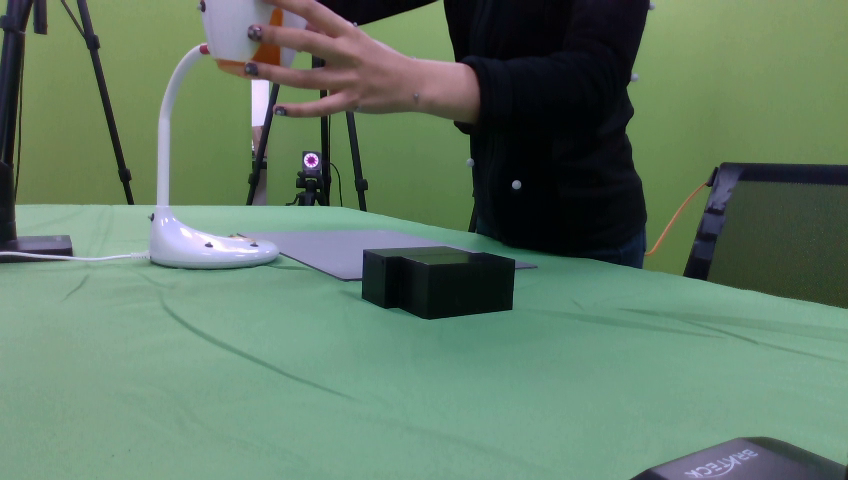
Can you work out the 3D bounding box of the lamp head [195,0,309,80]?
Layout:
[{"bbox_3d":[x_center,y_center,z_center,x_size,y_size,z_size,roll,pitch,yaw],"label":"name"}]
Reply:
[{"bbox_3d":[-0.166,-0.215,0.572,0.112,0.123,0.112,9,8,-1],"label":"lamp head"}]

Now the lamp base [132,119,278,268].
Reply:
[{"bbox_3d":[-0.279,-0.061,0.770,0.160,0.180,0.180,9,13,44],"label":"lamp base"}]

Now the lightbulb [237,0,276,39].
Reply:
[{"bbox_3d":[-0.155,-0.243,0.571,0.059,0.107,0.059,11,-1,0],"label":"lightbulb"}]
